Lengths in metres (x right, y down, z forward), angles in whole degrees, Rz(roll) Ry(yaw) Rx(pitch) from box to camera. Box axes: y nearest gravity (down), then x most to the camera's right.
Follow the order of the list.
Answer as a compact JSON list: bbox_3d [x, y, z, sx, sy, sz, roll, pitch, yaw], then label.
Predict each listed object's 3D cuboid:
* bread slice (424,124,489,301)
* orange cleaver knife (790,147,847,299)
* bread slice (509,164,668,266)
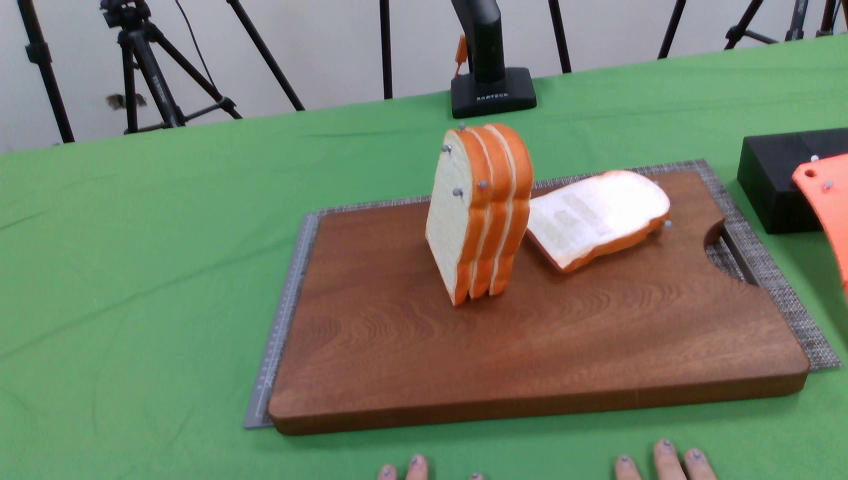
[{"bbox_3d":[0.027,-0.032,0.529,0.018,0.135,0.106,-3,35,-16],"label":"bread slice"},{"bbox_3d":[0.362,0.002,0.495,0.077,0.012,0.209,0,56,10],"label":"orange cleaver knife"},{"bbox_3d":[0.160,-0.029,0.572,0.131,0.019,0.103,-22,38,-6],"label":"bread slice"}]
